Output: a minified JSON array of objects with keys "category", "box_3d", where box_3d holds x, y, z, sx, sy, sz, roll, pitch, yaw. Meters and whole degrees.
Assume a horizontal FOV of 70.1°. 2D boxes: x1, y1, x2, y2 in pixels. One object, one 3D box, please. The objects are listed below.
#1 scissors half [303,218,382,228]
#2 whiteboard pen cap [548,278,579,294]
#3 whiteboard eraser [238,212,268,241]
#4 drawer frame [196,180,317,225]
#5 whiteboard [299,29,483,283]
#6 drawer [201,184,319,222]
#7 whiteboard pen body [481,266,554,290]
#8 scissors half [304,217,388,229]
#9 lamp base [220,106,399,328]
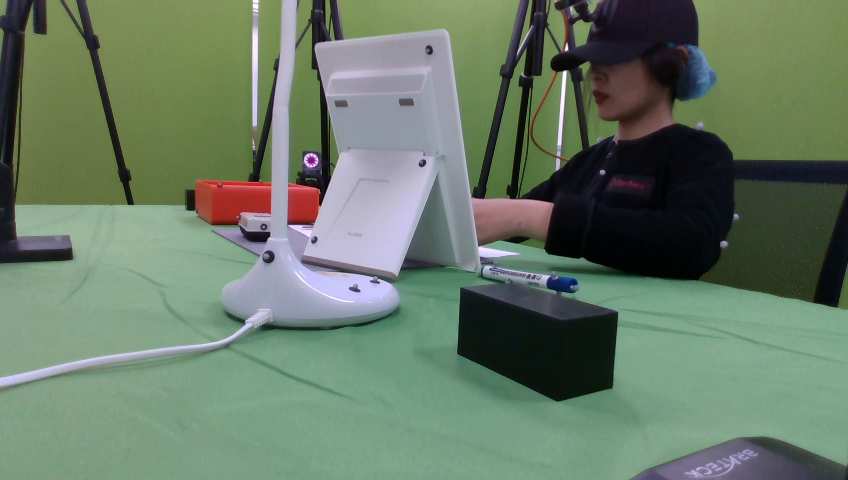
[{"category":"scissors half","box_3d":[-0.159,-0.029,1.196,0.176,0.013,0.040,-5,-9,-40]},{"category":"whiteboard pen cap","box_3d":[0.148,0.049,0.647,0.018,0.018,0.033,-3,3,-36]},{"category":"whiteboard eraser","box_3d":[-0.272,-0.024,0.998,0.056,0.042,0.112,-2,9,-24]},{"category":"drawer frame","box_3d":[-0.359,-0.083,1.292,0.215,0.082,0.200,-2,10,-30]},{"category":"whiteboard","box_3d":[-0.074,-0.082,0.742,0.216,0.305,0.144,9,29,38]},{"category":"drawer","box_3d":[-0.353,-0.082,1.296,0.213,0.073,0.193,-2,10,-28]},{"category":"whiteboard pen body","box_3d":[0.115,0.044,0.695,0.017,0.017,0.140,-3,6,-35]},{"category":"scissors half","box_3d":[-0.149,-0.032,1.179,0.176,0.013,0.040,-8,-3,-26]},{"category":"lamp base","box_3d":[-0.102,-0.023,0.531,0.160,0.180,0.179,4,10,10]}]
